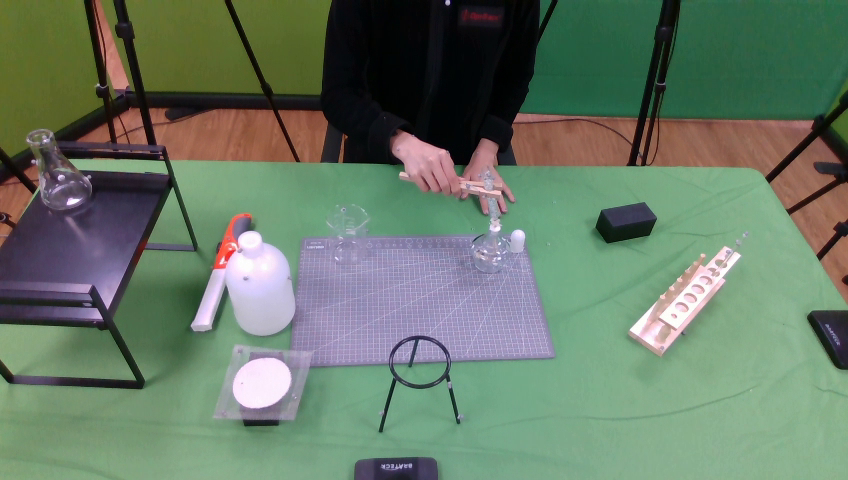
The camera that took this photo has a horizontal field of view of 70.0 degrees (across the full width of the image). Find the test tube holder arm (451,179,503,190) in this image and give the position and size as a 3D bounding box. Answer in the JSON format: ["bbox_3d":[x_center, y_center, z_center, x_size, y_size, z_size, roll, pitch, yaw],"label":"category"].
[{"bbox_3d":[0.088,-0.093,1.015,0.088,0.015,0.010,4,60,8],"label":"test tube holder arm"}]

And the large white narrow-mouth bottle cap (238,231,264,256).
[{"bbox_3d":[-0.266,0.006,0.932,0.038,0.024,0.037,2,46,-2],"label":"large white narrow-mouth bottle cap"}]

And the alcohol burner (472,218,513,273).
[{"bbox_3d":[0.128,0.005,1.132,0.078,0.120,0.077,0,47,0],"label":"alcohol burner"}]

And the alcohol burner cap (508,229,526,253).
[{"bbox_3d":[0.185,-0.002,1.192,0.034,0.048,0.033,3,45,-2],"label":"alcohol burner cap"}]

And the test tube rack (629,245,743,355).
[{"bbox_3d":[0.474,0.095,1.091,0.242,0.085,0.066,-34,56,-31],"label":"test tube rack"}]

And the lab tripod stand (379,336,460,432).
[{"bbox_3d":[-0.011,0.214,0.911,0.148,0.132,0.147,1,45,0],"label":"lab tripod stand"}]

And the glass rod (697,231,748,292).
[{"bbox_3d":[0.514,0.044,1.051,0.008,0.200,0.008,1,55,-1],"label":"glass rod"}]

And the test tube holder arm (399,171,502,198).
[{"bbox_3d":[0.043,-0.094,1.020,0.178,0.015,0.013,11,60,12],"label":"test tube holder arm"}]

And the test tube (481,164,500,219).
[{"bbox_3d":[0.113,-0.079,1.021,0.017,0.151,0.017,-6,59,11],"label":"test tube"}]

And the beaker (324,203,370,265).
[{"bbox_3d":[-0.142,-0.009,1.137,0.084,0.101,0.073,-3,47,-7],"label":"beaker"}]

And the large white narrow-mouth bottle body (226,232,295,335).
[{"bbox_3d":[-0.270,0.065,0.995,0.102,0.195,0.101,2,46,-2],"label":"large white narrow-mouth bottle body"}]

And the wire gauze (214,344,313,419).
[{"bbox_3d":[-0.241,0.213,0.915,0.121,0.011,0.124,5,46,1],"label":"wire gauze"}]

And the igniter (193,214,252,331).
[{"bbox_3d":[-0.368,0.050,1.119,0.057,0.025,0.275,-3,46,8],"label":"igniter"}]

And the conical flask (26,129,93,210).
[{"bbox_3d":[-0.575,-0.113,0.946,0.075,0.122,0.075,2,46,-2],"label":"conical flask"}]
